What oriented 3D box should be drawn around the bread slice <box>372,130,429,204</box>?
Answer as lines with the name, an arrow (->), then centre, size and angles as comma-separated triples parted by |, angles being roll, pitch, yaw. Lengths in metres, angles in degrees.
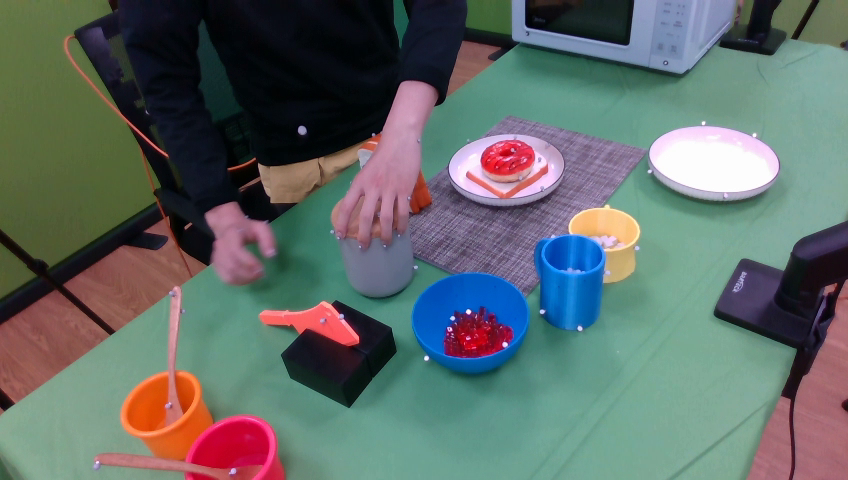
bread slice -> -0.043, -0.126, 1.038 | 0.106, 0.135, 0.018 | 30, 61, 33

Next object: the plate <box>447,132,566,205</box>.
plate -> 0.146, -0.124, 1.076 | 0.209, 0.038, 0.208 | -4, 41, 4

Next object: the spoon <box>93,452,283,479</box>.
spoon -> -0.240, 0.239, 0.632 | 0.195, 0.021, 0.041 | 26, 34, -32

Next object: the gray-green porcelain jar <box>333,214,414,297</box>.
gray-green porcelain jar -> -0.071, 0.011, 0.887 | 0.106, 0.127, 0.105 | -5, 40, 4

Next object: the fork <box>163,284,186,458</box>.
fork -> -0.302, 0.157, 0.733 | 0.028, 0.019, 0.207 | -3, 84, 15

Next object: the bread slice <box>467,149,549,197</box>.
bread slice -> 0.156, -0.128, 1.085 | 0.132, 0.019, 0.104 | -34, 48, -23

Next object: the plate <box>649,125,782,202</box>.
plate -> 0.493, -0.127, 1.036 | 0.207, 0.039, 0.206 | -4, 41, 4

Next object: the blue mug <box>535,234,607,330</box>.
blue mug -> 0.191, 0.048, 0.824 | 0.082, 0.106, 0.115 | -26, 44, -20

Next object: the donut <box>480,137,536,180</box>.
donut -> 0.145, -0.144, 1.056 | 0.099, 0.048, 0.098 | -5, 42, 6

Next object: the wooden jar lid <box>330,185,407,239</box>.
wooden jar lid -> -0.077, -0.036, 0.847 | 0.108, 0.021, 0.108 | -5, 43, 5

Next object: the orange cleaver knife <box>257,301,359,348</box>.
orange cleaver knife -> -0.160, 0.115, 0.813 | 0.210, 0.077, 0.012 | -9, 29, 48

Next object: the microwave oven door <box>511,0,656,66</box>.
microwave oven door -> 0.351, -0.539, 1.348 | 0.353, 0.245, 0.039 | 24, 50, 31

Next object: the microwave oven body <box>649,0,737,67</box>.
microwave oven body -> 0.475, -0.602, 1.411 | 0.438, 0.261, 0.327 | 23, 50, 32

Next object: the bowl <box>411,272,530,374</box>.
bowl -> 0.062, 0.120, 0.780 | 0.151, 0.077, 0.150 | -4, 40, 4

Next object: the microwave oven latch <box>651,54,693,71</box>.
microwave oven latch -> 0.531, -0.386, 1.301 | 0.078, 0.029, 0.030 | 26, 51, 33

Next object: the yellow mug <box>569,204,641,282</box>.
yellow mug -> 0.268, -0.004, 0.904 | 0.099, 0.064, 0.130 | 7, 41, 15
